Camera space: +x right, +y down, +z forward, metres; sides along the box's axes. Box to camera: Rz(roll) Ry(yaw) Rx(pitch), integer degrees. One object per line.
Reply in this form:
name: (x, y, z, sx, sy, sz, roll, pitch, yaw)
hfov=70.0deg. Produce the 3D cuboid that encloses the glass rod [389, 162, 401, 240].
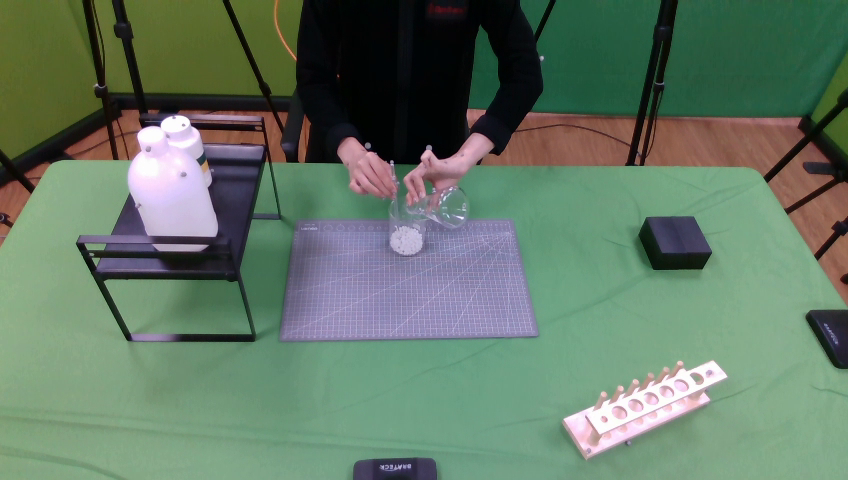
glass rod: (-0.053, -0.066, 1.120, 0.008, 0.201, 0.008, -1, 48, 2)

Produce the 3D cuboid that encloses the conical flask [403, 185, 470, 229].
conical flask: (0.016, -0.062, 1.077, 0.121, 0.075, 0.075, 9, 38, 46)

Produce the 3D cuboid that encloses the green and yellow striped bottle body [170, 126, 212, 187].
green and yellow striped bottle body: (-0.389, -0.139, 0.984, 0.063, 0.120, 0.063, 2, 46, -2)

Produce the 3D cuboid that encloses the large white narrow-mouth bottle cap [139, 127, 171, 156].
large white narrow-mouth bottle cap: (-0.358, -0.132, 0.807, 0.038, 0.024, 0.037, 3, 47, -3)

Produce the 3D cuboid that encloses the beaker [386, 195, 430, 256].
beaker: (-0.031, -0.024, 1.161, 0.084, 0.101, 0.073, 18, 48, 12)

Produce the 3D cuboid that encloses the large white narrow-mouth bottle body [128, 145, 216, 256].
large white narrow-mouth bottle body: (-0.366, -0.073, 0.872, 0.102, 0.195, 0.101, 3, 47, -3)

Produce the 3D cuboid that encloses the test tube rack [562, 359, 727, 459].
test tube rack: (0.341, 0.247, 0.940, 0.243, 0.085, 0.066, -16, 49, -18)

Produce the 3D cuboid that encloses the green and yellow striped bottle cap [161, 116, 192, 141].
green and yellow striped bottle cap: (-0.387, -0.174, 0.946, 0.045, 0.020, 0.045, 3, 44, -3)
